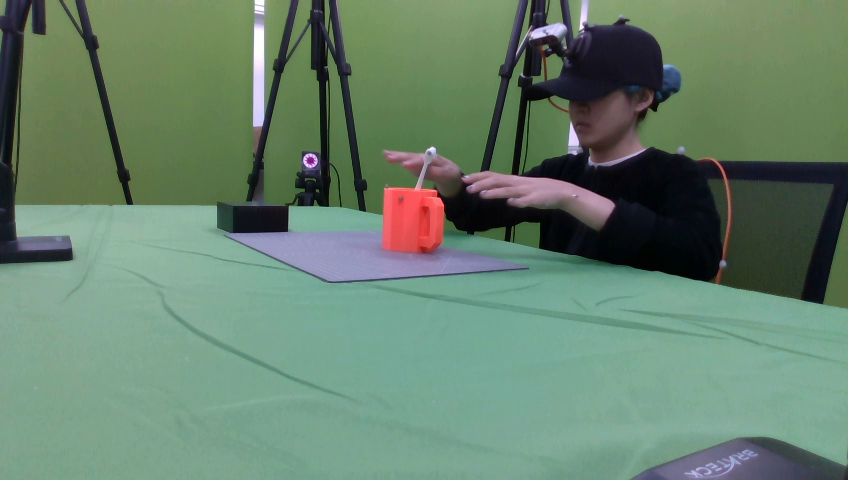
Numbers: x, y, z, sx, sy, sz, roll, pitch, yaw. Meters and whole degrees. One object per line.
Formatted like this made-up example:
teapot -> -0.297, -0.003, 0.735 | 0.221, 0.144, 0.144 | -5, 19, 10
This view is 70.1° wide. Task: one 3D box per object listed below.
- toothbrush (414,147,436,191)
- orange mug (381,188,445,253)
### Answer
toothbrush -> -0.012, -0.068, 0.933 | 0.014, 0.181, 0.016 | 25, 41, 5
orange mug -> -0.013, -0.031, 0.942 | 0.084, 0.100, 0.125 | -2, 5, -37
